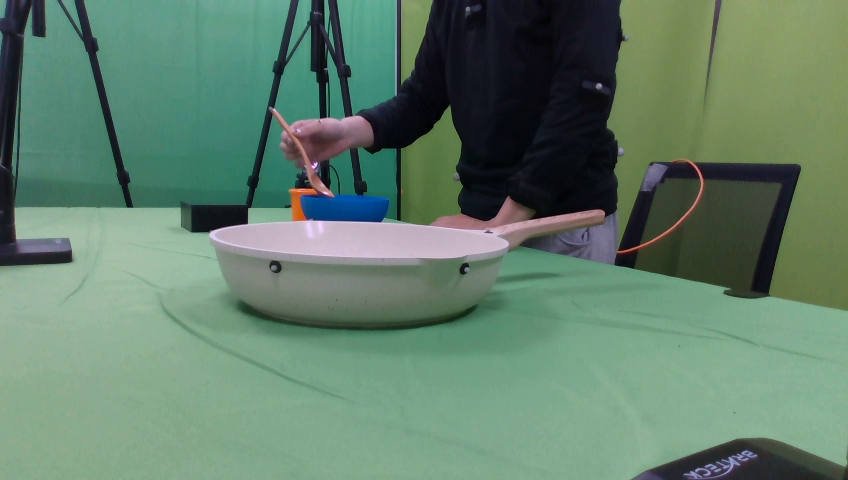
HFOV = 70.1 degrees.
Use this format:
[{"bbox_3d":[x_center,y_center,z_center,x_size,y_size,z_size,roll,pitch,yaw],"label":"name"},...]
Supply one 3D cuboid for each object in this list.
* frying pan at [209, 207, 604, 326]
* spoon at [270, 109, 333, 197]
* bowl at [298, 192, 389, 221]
[{"bbox_3d":[0.026,0.005,0.664,0.490,0.102,0.305,-12,14,-30],"label":"frying pan"},{"bbox_3d":[-0.213,-0.151,1.044,0.021,0.193,0.042,-34,-11,20],"label":"spoon"},{"bbox_3d":[-0.136,-0.037,1.018,0.151,0.077,0.151,3,7,0],"label":"bowl"}]
